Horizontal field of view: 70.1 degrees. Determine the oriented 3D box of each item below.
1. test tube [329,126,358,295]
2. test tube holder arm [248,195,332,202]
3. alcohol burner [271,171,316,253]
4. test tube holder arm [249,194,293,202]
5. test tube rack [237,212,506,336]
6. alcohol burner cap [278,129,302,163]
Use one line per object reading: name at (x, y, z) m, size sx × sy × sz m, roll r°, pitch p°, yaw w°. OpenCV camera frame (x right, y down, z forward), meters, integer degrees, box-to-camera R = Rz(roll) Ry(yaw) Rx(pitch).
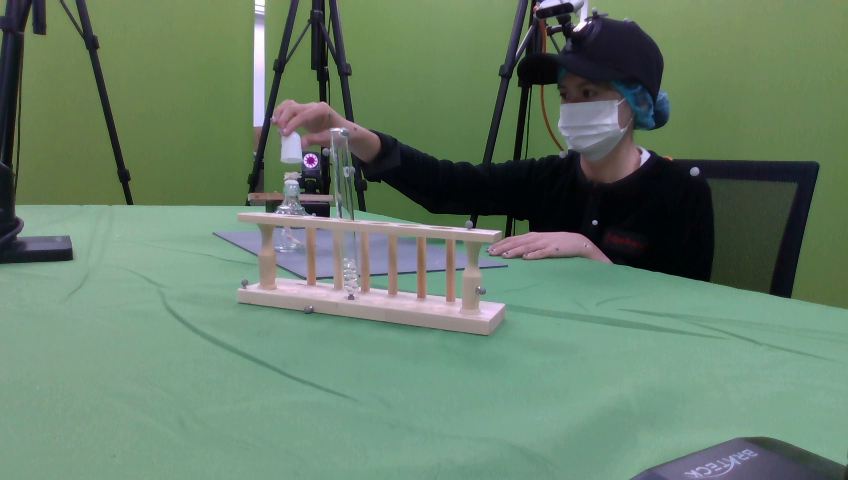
test tube at (-0.071, -0.025, 0.534) m, size 0.017 × 0.150 × 0.017 m, roll -3°, pitch 10°, yaw 1°
test tube holder arm at (-0.269, -0.085, 1.229) m, size 0.179 × 0.015 × 0.013 m, roll -2°, pitch 1°, yaw -37°
alcohol burner at (-0.196, -0.041, 0.884) m, size 0.078 × 0.119 × 0.078 m, roll 3°, pitch 5°, yaw 0°
test tube holder arm at (-0.302, -0.084, 1.197) m, size 0.088 × 0.015 × 0.010 m, roll -2°, pitch 1°, yaw -37°
test tube rack at (-0.049, 0.024, 0.552) m, size 0.242 × 0.085 × 0.067 m, roll 5°, pitch 8°, yaw 18°
alcohol burner cap at (-0.196, -0.137, 0.882) m, size 0.034 × 0.048 × 0.034 m, roll -2°, pitch -6°, yaw 0°
